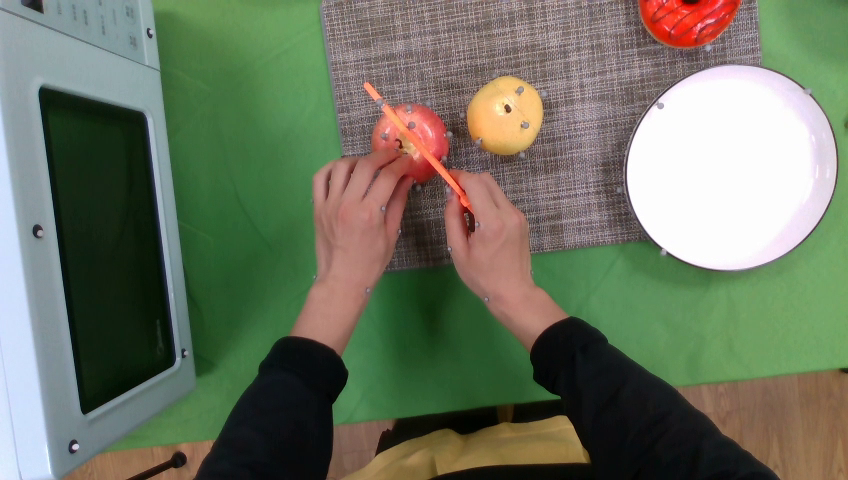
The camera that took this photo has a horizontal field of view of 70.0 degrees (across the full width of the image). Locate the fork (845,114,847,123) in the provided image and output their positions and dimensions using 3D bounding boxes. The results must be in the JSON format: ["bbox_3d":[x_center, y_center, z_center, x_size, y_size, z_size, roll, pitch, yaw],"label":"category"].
[{"bbox_3d":[0.511,-0.174,0.576,0.207,0.018,0.028,-35,99,27],"label":"fork"}]

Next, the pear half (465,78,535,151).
[{"bbox_3d":[0.071,-0.120,0.601,0.076,0.110,0.056,43,96,4],"label":"pear half"}]

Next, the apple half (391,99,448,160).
[{"bbox_3d":[0.002,-0.120,0.624,0.033,0.081,0.081,-42,90,10],"label":"apple half"}]

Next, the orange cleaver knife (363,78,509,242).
[{"bbox_3d":[0.016,-0.070,0.569,0.012,0.076,0.213,-40,130,9],"label":"orange cleaver knife"}]

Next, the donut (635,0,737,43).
[{"bbox_3d":[0.262,-0.248,0.607,0.099,0.048,0.099,1,96,7],"label":"donut"}]

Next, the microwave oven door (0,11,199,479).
[{"bbox_3d":[-0.299,0.000,0.561,0.039,0.243,0.356,-5,95,5],"label":"microwave oven door"}]

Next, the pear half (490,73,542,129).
[{"bbox_3d":[0.097,-0.145,0.607,0.070,0.088,0.031,42,97,6],"label":"pear half"}]

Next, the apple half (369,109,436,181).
[{"bbox_3d":[-0.027,-0.094,0.630,0.053,0.074,0.081,-40,96,11],"label":"apple half"}]

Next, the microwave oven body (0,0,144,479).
[{"bbox_3d":[-0.446,-0.032,0.575,0.326,0.260,0.442,-5,96,5],"label":"microwave oven body"}]

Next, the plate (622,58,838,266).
[{"bbox_3d":[0.307,-0.078,0.623,0.209,0.038,0.209,0,96,4],"label":"plate"}]

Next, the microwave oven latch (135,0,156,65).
[{"bbox_3d":[-0.306,-0.228,0.641,0.030,0.029,0.079,-3,96,4],"label":"microwave oven latch"}]
